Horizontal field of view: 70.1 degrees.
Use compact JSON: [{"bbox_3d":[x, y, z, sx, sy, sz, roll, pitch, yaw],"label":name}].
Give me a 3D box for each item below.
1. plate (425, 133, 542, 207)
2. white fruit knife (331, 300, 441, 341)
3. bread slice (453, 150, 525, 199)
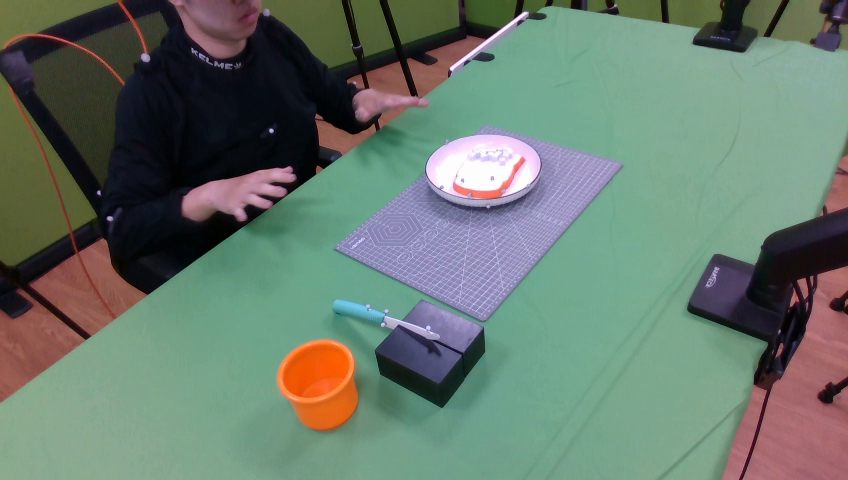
[{"bbox_3d":[0.106,-0.121,1.079,0.209,0.038,0.208,-4,41,4],"label":"plate"},{"bbox_3d":[-0.056,0.107,0.807,0.205,0.027,0.016,9,42,40],"label":"white fruit knife"},{"bbox_3d":[0.112,-0.118,1.079,0.104,0.019,0.131,11,42,21],"label":"bread slice"}]
